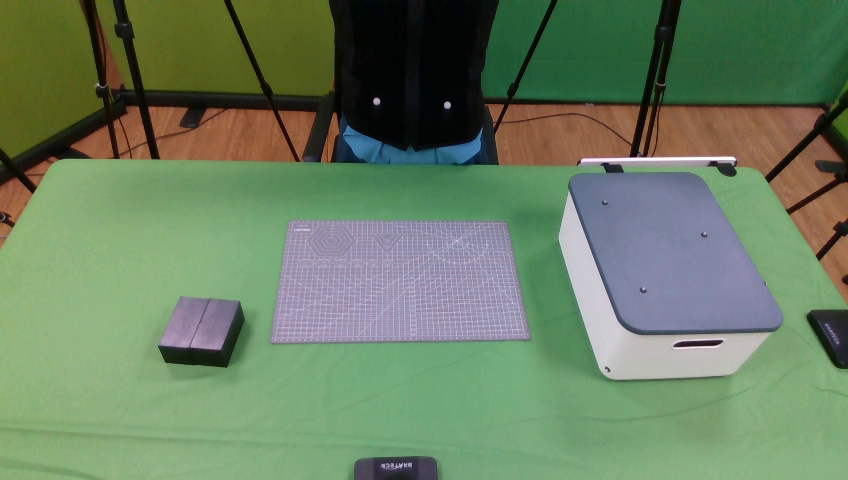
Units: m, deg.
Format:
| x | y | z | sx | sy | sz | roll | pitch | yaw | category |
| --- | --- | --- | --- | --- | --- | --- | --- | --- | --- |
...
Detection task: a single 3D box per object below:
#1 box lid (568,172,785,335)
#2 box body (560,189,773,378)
| x | y | z | sx | sy | sz | roll | pitch | yaw | category |
| --- | --- | --- | --- | --- | --- | --- | --- | --- | --- |
| 0.407 | 0.007 | 1.019 | 0.263 | 0.015 | 0.369 | -1 | 46 | -5 | box lid |
| 0.405 | 0.057 | 1.074 | 0.254 | 0.161 | 0.361 | -2 | 46 | -5 | box body |
